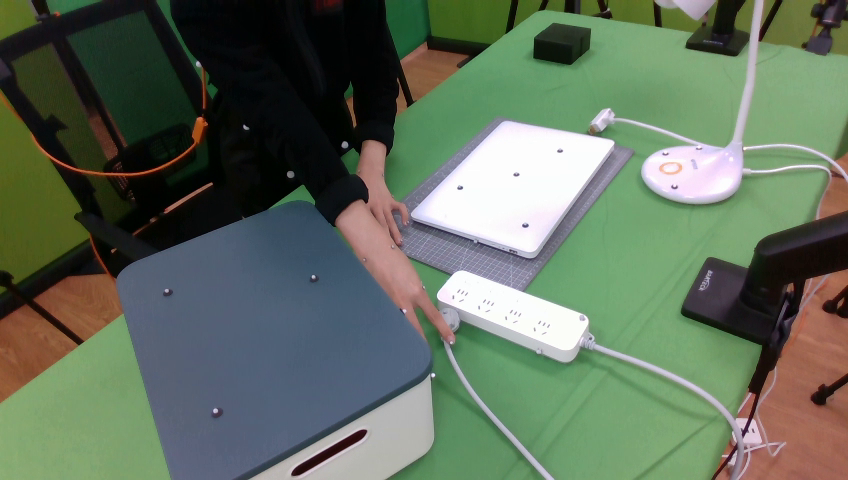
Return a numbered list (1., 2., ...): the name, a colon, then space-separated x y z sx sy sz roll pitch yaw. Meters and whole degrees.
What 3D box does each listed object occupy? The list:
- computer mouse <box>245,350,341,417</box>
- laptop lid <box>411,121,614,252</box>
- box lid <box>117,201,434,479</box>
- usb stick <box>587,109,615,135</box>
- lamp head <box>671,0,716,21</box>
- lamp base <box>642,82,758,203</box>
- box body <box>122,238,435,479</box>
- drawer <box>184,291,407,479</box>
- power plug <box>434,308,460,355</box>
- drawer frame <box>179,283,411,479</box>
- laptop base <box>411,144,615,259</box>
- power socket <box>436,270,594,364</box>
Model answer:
1. computer mouse: -0.164 0.173 0.754 0.118 0.041 0.062 -18 33 -18
2. laptop lid: 0.164 -0.112 1.068 0.240 0.013 0.357 19 46 31
3. box lid: -0.182 0.087 0.675 0.264 0.015 0.368 -25 42 -20
4. usb stick: 0.344 -0.229 1.184 0.059 0.021 0.027 -47 21 -8
5. lamp head: 0.375 -0.373 0.807 0.122 0.113 0.112 -40 27 32
6. lamp base: 0.464 -0.174 0.992 0.179 0.181 0.159 -5 41 -1
7. box body: -0.175 0.142 0.724 0.255 0.161 0.360 -25 43 -20
8. drawer: -0.155 0.180 0.720 0.195 0.073 0.210 -27 40 -21
9. power plug: 0.026 0.125 0.812 0.035 0.053 0.072 7 62 19
10. drawer frame: -0.155 0.179 0.727 0.202 0.083 0.211 -28 49 -20
11. laptop base: 0.167 -0.102 1.074 0.234 0.023 0.355 17 45 30
12. power socket: 0.118 0.102 0.830 0.225 0.033 0.072 20 49 28
